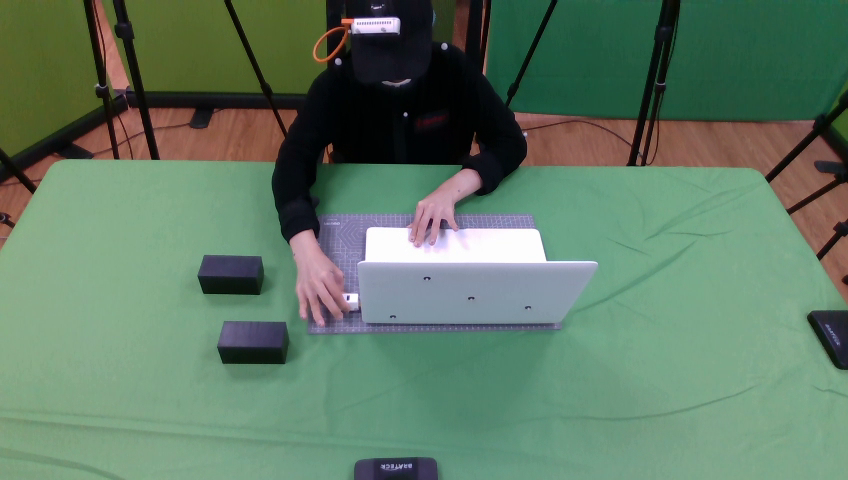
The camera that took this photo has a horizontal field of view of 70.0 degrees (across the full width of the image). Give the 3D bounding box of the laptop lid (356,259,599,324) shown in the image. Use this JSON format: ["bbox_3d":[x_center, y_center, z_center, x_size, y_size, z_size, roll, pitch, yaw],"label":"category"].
[{"bbox_3d":[0.074,0.088,0.959,0.357,0.242,0.013,1,60,-5],"label":"laptop lid"}]

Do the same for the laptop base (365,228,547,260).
[{"bbox_3d":[0.064,0.063,1.144,0.354,0.023,0.234,0,42,-3],"label":"laptop base"}]

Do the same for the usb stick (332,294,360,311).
[{"bbox_3d":[-0.131,0.109,1.067,0.059,0.027,0.021,2,48,-3],"label":"usb stick"}]
